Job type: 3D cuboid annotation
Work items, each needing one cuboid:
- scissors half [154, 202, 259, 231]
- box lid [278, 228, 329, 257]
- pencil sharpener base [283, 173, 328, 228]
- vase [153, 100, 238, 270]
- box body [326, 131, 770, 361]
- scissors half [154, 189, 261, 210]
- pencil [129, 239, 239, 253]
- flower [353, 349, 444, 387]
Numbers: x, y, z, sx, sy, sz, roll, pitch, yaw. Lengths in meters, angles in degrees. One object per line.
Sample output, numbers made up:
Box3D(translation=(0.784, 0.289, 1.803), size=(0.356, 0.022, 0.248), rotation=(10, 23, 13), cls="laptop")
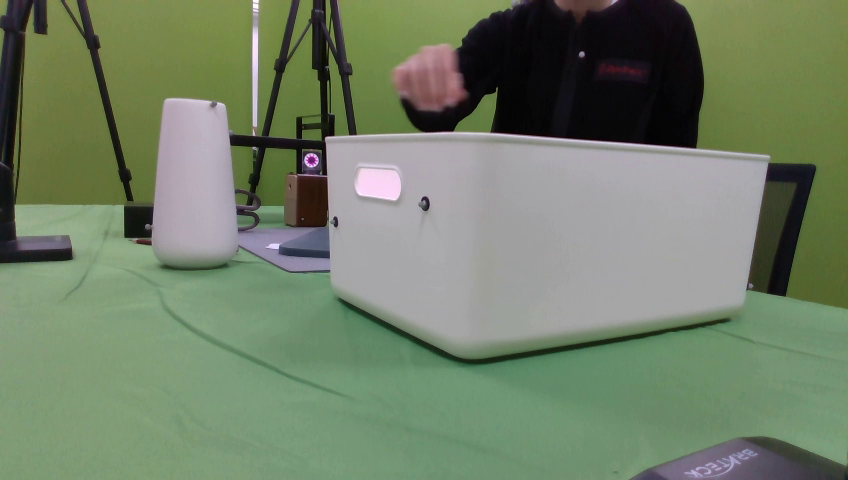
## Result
Box3D(translation=(-0.375, -0.046, 1.051), size=(0.176, 0.040, 0.013), rotation=(13, -2, -28), cls="scissors half")
Box3D(translation=(-0.019, 0.012, 0.950), size=(0.371, 0.015, 0.263), rotation=(4, 7, 4), cls="box lid")
Box3D(translation=(-0.239, -0.081, 1.231), size=(0.077, 0.107, 0.061), rotation=(-2, 8, -36), cls="pencil sharpener base")
Box3D(translation=(-0.278, -0.066, 0.736), size=(0.098, 0.200, 0.098), rotation=(2, 9, 0), cls="vase")
Box3D(translation=(0.112, -0.010, 0.583), size=(0.366, 0.160, 0.253), rotation=(-2, 9, -33), cls="box body")
Box3D(translation=(-0.373, -0.066, 1.049), size=(0.176, 0.040, 0.012), rotation=(-6, 12, -27), cls="scissors half")
Box3D(translation=(-0.350, 0.008, 0.874), size=(0.193, 0.012, 0.012), rotation=(4, 8, 18), cls="pencil")
Box3D(translation=(0.104, 0.074, 0.585), size=(0.363, 0.044, 0.038), rotation=(-19, 40, -14), cls="flower")
